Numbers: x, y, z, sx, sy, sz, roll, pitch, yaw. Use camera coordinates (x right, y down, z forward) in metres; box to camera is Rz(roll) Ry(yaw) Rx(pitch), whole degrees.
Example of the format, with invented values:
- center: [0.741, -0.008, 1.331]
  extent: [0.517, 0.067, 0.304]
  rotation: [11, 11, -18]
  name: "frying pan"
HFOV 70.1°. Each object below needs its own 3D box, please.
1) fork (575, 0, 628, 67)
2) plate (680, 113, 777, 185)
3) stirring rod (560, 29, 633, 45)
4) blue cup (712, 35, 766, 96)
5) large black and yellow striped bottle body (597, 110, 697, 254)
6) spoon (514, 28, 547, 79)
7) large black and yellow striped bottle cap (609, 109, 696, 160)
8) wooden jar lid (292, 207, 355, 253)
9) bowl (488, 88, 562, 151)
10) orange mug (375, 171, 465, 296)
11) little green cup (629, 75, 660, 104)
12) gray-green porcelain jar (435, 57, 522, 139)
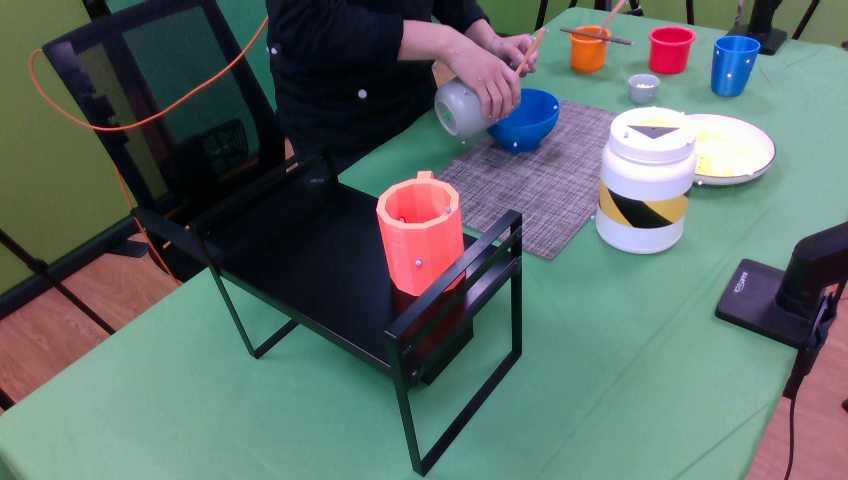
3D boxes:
- center: [0.413, -0.481, 1.377]
  extent: [0.207, 0.019, 0.028]
  rotation: [-56, 43, 12]
  name: "fork"
- center: [0.506, -0.158, 1.073]
  extent: [0.209, 0.038, 0.208]
  rotation: [-5, 40, 4]
  name: "plate"
- center: [0.381, -0.452, 1.345]
  extent: [0.174, 0.006, 0.014]
  rotation: [25, 49, 33]
  name: "stirring rod"
- center: [0.627, -0.350, 1.227]
  extent: [0.092, 0.100, 0.092]
  rotation: [-4, 39, 4]
  name: "blue cup"
- center: [0.331, -0.086, 0.904]
  extent: [0.131, 0.185, 0.130]
  rotation: [-5, 41, 4]
  name: "large black and yellow striped bottle body"
- center: [0.178, -0.317, 1.122]
  extent: [0.041, 0.022, 0.193]
  rotation: [26, 75, 26]
  name: "spoon"
- center: [0.319, -0.150, 0.849]
  extent: [0.115, 0.019, 0.114]
  rotation: [-4, 39, 3]
  name: "large black and yellow striped bottle cap"
- center: [-0.169, -0.015, 1.026]
  extent: [0.108, 0.021, 0.108]
  rotation: [-4, 40, 4]
  name: "wooden jar lid"
- center: [0.187, -0.223, 1.161]
  extent: [0.151, 0.077, 0.150]
  rotation: [-5, 40, 4]
  name: "bowl"
- center: [0.000, -0.016, 0.661]
  extent: [0.083, 0.101, 0.125]
  rotation: [-2, 45, 8]
  name: "orange mug"
- center: [0.458, -0.314, 1.260]
  extent: [0.061, 0.039, 0.061]
  rotation: [-4, 40, 4]
  name: "little green cup"
- center: [0.092, -0.247, 1.071]
  extent: [0.127, 0.106, 0.105]
  rotation: [-33, 46, -14]
  name: "gray-green porcelain jar"
